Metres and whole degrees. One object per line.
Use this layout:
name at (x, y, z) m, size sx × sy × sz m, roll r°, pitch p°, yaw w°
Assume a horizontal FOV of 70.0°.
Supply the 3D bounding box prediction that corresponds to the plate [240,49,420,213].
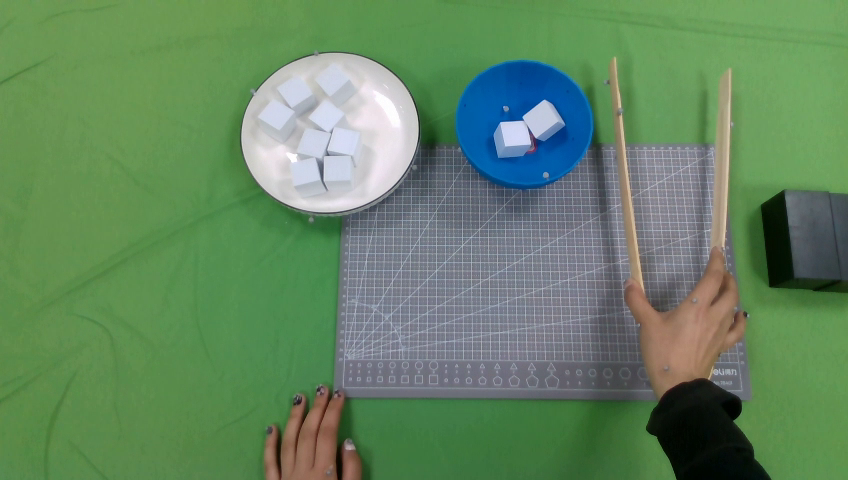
plate at (-0.108, -0.126, 0.714) m, size 0.208 × 0.039 × 0.206 m, roll 0°, pitch 74°, yaw 1°

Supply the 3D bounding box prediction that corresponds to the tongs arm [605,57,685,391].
tongs arm at (0.243, -0.028, 0.676) m, size 0.051 × 0.026 × 0.382 m, roll 2°, pitch 75°, yaw -6°

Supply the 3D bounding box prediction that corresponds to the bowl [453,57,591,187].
bowl at (0.106, -0.121, 0.691) m, size 0.151 × 0.077 × 0.150 m, roll 0°, pitch 74°, yaw 0°

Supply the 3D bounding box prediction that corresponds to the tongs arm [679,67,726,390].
tongs arm at (0.317, -0.022, 0.681) m, size 0.028 × 0.028 × 0.385 m, roll 13°, pitch 75°, yaw -6°
